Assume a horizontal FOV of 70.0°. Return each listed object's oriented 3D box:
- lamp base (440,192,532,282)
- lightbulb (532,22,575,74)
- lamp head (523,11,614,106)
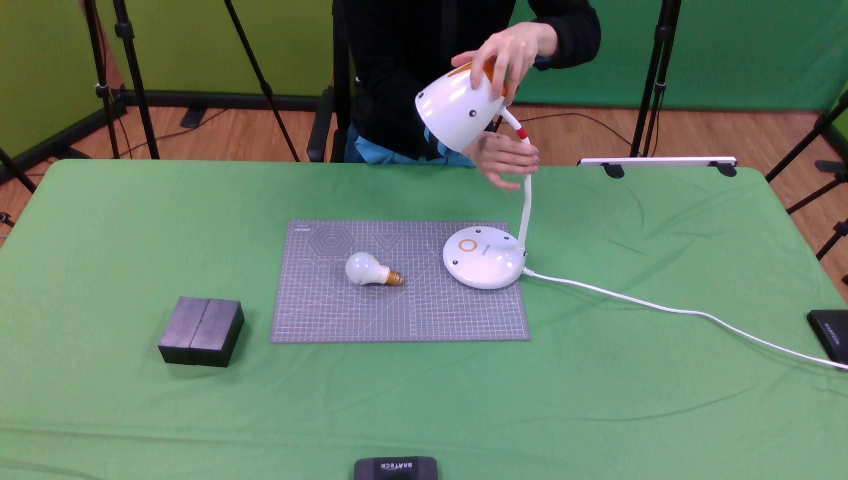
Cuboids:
[{"bbox_3d":[0.127,-0.032,1.123,0.179,0.181,0.159,11,46,2],"label":"lamp base"},{"bbox_3d":[0.190,-0.261,0.877,0.059,0.108,0.059,-10,39,8],"label":"lightbulb"},{"bbox_3d":[0.220,-0.250,0.887,0.112,0.123,0.111,-25,46,29],"label":"lamp head"}]
